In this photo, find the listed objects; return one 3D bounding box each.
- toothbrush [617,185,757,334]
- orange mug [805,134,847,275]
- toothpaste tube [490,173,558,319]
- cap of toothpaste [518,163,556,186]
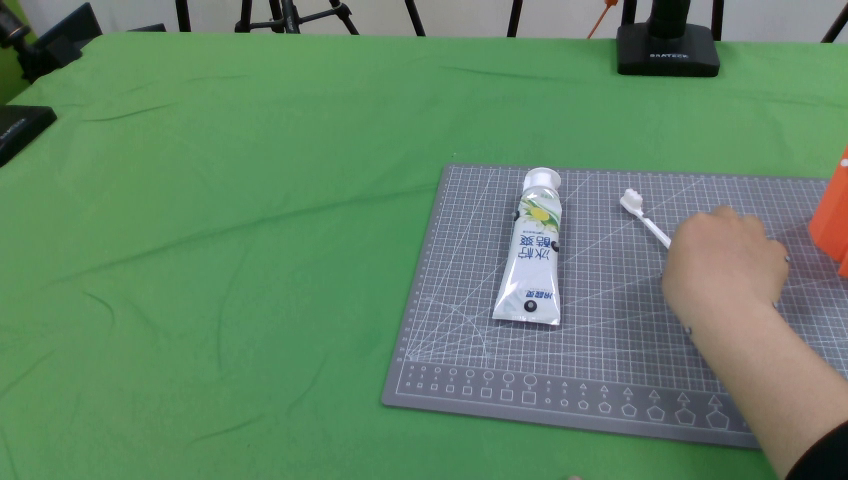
[{"bbox_3d":[0.220,0.010,0.517,0.014,0.017,0.179,-5,43,-22],"label":"toothbrush"},{"bbox_3d":[0.365,-0.030,0.484,0.083,0.102,0.126,26,49,30],"label":"orange mug"},{"bbox_3d":[0.093,-0.001,0.536,0.055,0.035,0.163,1,48,14],"label":"toothpaste tube"},{"bbox_3d":[0.109,-0.059,0.584,0.037,0.038,0.011,7,52,13],"label":"cap of toothpaste"}]
